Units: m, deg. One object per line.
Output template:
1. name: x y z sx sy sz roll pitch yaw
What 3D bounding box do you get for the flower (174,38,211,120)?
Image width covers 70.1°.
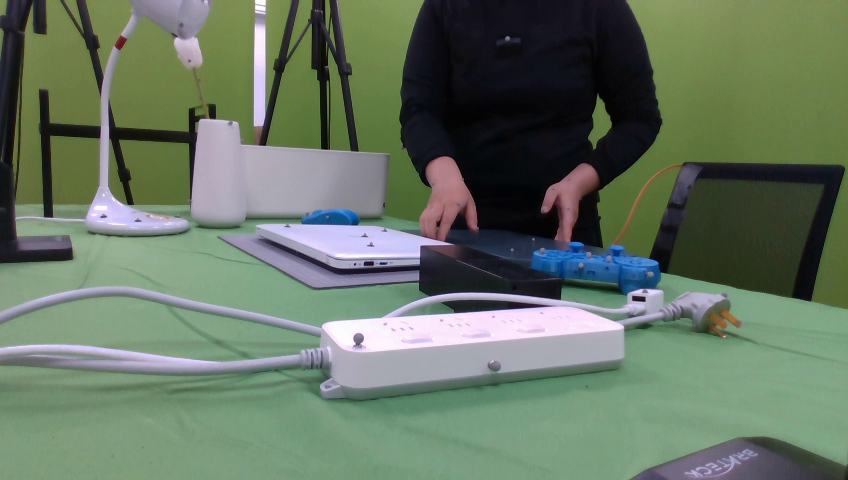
1. flower: -0.401 -0.207 1.141 0.038 0.361 0.044 -14 3 44

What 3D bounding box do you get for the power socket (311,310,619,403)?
1. power socket: 0.034 0.074 0.415 0.228 0.032 0.072 -1 7 -24

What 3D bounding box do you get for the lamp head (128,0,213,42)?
1. lamp head: -0.423 -0.394 0.980 0.123 0.112 0.112 20 7 -3

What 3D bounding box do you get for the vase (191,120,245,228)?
1. vase: -0.389 -0.124 1.142 0.098 0.200 0.098 3 9 0

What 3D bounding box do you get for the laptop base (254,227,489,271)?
1. laptop base: -0.096 0.012 0.911 0.237 0.023 0.352 2 6 -32

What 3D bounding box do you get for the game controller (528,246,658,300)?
1. game controller: 0.202 0.036 0.733 0.155 0.051 0.097 5 10 20

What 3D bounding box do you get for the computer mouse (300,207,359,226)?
1. computer mouse: -0.194 -0.046 1.241 0.117 0.041 0.063 0 10 11

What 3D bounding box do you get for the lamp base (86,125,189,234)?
1. lamp base: -0.497 -0.105 1.027 0.179 0.180 0.160 1 7 2

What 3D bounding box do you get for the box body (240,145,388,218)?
1. box body: -0.297 -0.143 1.474 0.366 0.160 0.253 -1 9 -30

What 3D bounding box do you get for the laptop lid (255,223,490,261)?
1. laptop lid: -0.093 0.000 0.911 0.243 0.013 0.355 1 7 -30

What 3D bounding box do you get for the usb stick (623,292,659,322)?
1. usb stick: 0.211 0.064 0.580 0.021 0.027 0.059 -2 -3 36

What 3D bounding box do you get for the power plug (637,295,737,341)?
1. power plug: 0.234 0.077 0.535 0.072 0.035 0.052 -33 40 -6

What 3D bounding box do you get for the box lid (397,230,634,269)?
1. box lid: 0.144 0.012 1.046 0.265 0.015 0.369 -1 8 -32
